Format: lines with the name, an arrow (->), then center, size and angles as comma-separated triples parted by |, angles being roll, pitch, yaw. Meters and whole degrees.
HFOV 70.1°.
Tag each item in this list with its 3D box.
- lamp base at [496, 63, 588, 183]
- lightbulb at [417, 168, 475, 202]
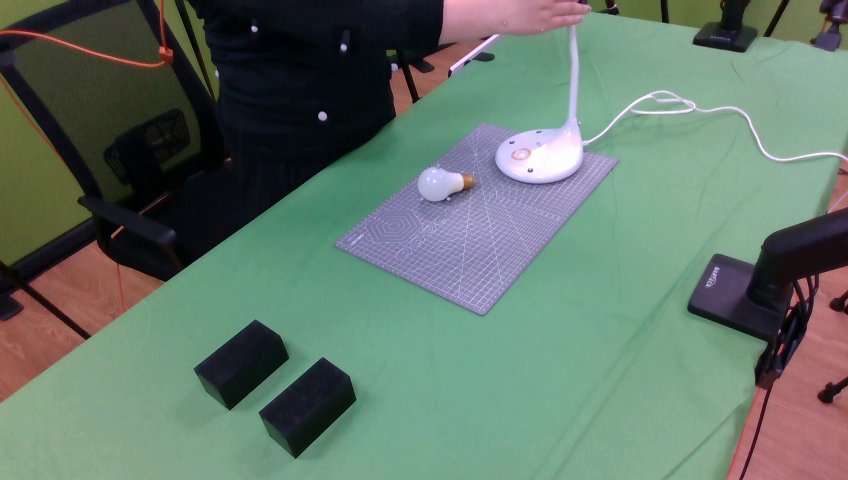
lamp base -> 0.216, -0.217, 1.067 | 0.180, 0.181, 0.159 | -19, 42, -18
lightbulb -> 0.040, -0.098, 1.055 | 0.108, 0.059, 0.059 | -7, 37, -25
